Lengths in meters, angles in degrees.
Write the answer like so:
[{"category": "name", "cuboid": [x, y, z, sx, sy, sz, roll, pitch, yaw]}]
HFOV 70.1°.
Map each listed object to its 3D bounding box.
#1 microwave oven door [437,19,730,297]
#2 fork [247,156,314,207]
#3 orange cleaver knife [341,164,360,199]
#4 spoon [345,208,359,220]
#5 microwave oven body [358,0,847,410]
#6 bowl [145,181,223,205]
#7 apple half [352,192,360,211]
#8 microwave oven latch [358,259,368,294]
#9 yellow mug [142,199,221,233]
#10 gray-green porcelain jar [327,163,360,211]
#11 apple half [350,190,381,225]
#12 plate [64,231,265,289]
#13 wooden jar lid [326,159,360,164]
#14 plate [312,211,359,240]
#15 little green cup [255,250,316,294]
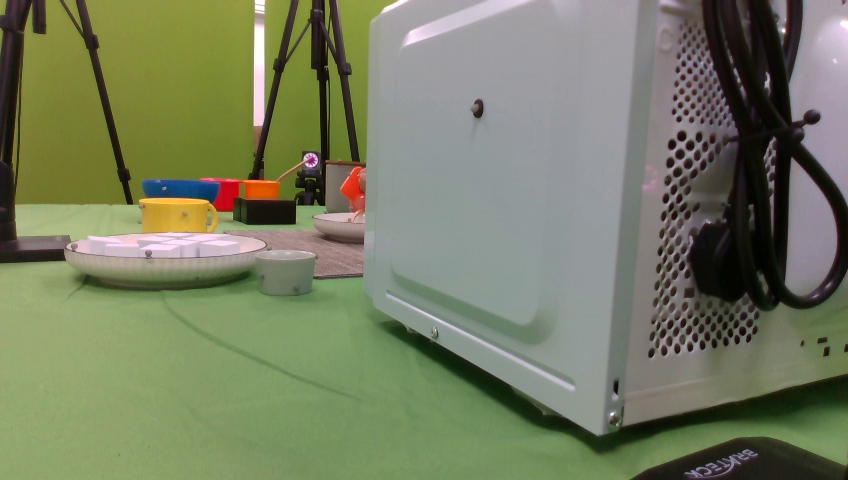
[{"category": "microwave oven door", "cuboid": [0.180, -0.076, 0.618, 0.358, 0.243, 0.039, -2, 9, -28]}, {"category": "fork", "cuboid": [-0.360, -0.147, 1.523, 0.207, 0.018, 0.028, -43, 14, -7]}, {"category": "orange cleaver knife", "cuboid": [-0.087, -0.096, 1.303, 0.212, 0.077, 0.012, 23, -5, -39]}, {"category": "spoon", "cuboid": [-0.123, -0.047, 1.117, 0.041, 0.021, 0.194, -8, 16, 18]}, {"category": "microwave oven body", "cuboid": [0.210, -0.051, 0.471, 0.444, 0.260, 0.324, -1, 7, -28]}, {"category": "bowl", "cuboid": [-0.499, -0.081, 1.261, 0.151, 0.077, 0.151, 2, 8, 0]}, {"category": "apple half", "cuboid": [-0.104, -0.065, 1.260, 0.081, 0.074, 0.053, 2, 8, -39]}, {"category": "microwave oven latch", "cuboid": [-0.019, 0.031, 0.531, 0.079, 0.029, 0.030, -2, 7, -29]}, {"category": "yellow mug", "cuboid": [-0.372, -0.030, 0.947, 0.099, 0.064, 0.131, 6, 7, 30]}, {"category": "gray-green porcelain jar", "cuboid": [-0.187, -0.125, 1.490, 0.106, 0.126, 0.106, 2, 8, 0]}, {"category": "apple half", "cuboid": [-0.132, -0.070, 1.292, 0.082, 0.081, 0.032, -5, 8, -40]}, {"category": "plate", "cuboid": [-0.288, 0.021, 0.687, 0.208, 0.039, 0.207, 2, 8, 0]}, {"category": "wooden jar lid", "cuboid": [-0.185, -0.187, 1.481, 0.108, 0.020, 0.108, 4, 6, 0]}, {"category": "plate", "cuboid": [-0.091, -0.026, 1.063, 0.209, 0.038, 0.209, 2, 7, 0]}, {"category": "little green cup", "cuboid": [-0.144, 0.032, 0.627, 0.061, 0.038, 0.061, 3, 6, 0]}]
